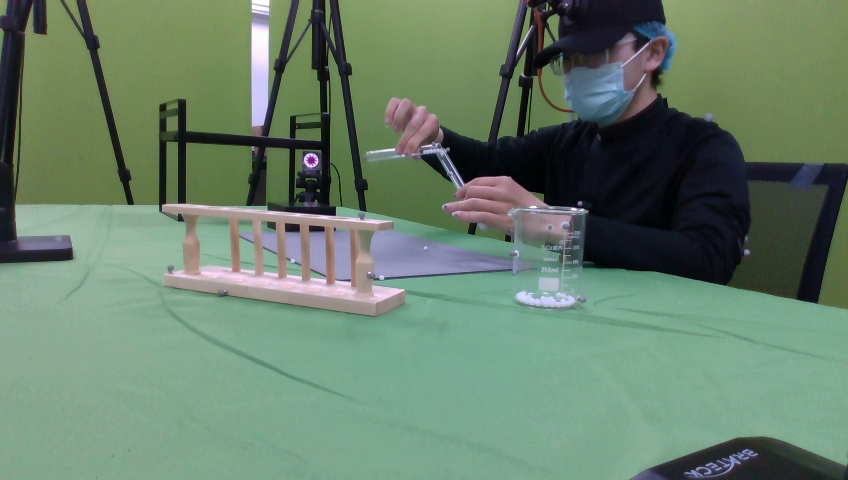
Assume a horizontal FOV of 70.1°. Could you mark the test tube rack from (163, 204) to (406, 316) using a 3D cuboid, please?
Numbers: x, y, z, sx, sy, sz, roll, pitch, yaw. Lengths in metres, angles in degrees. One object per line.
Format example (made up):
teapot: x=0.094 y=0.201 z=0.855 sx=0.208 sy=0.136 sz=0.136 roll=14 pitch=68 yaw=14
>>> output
test tube rack: x=-0.141 y=0.013 z=0.601 sx=0.241 sy=0.085 sz=0.067 roll=5 pitch=8 yaw=21

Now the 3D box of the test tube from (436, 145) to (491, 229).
test tube: x=0.060 y=-0.081 z=0.920 sx=0.017 sy=0.150 sz=0.017 roll=-28 pitch=-13 yaw=-7

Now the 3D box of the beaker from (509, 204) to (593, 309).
beaker: x=0.125 y=0.015 z=0.613 sx=0.084 sy=0.100 sz=0.074 roll=1 pitch=7 yaw=-5

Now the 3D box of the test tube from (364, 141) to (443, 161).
test tube: x=-0.036 y=-0.143 z=0.975 sx=0.149 sy=0.017 sz=0.017 roll=-3 pitch=4 yaw=33
